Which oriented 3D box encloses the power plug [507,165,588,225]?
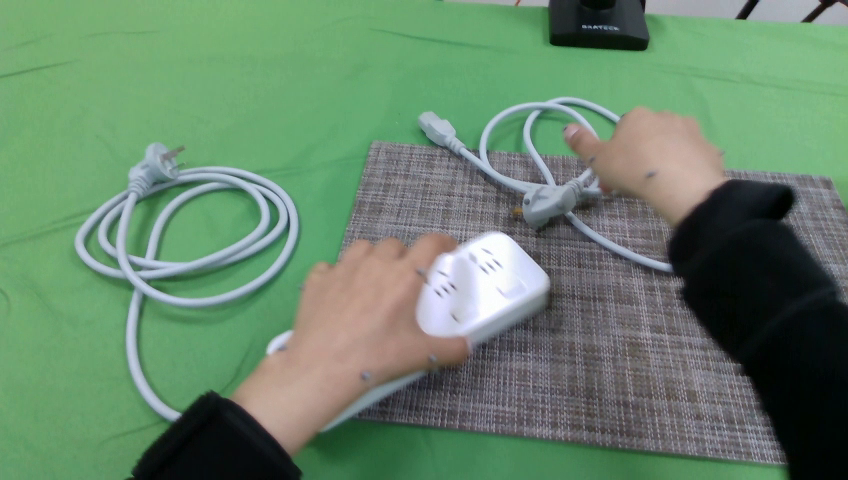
[{"bbox_3d":[0.111,-0.039,0.540,0.052,0.035,0.072,7,28,44],"label":"power plug"}]

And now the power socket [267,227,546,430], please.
[{"bbox_3d":[-0.008,0.058,0.448,0.227,0.033,0.071,-26,53,-21],"label":"power socket"}]
